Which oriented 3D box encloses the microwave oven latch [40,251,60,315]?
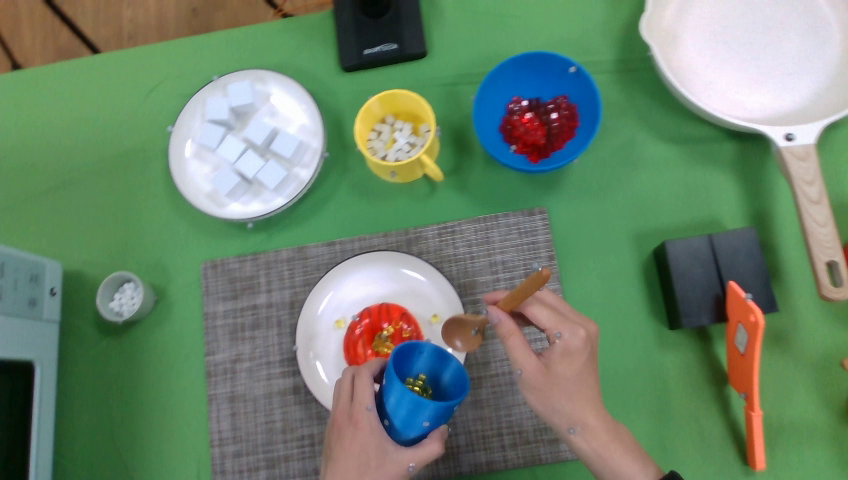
[{"bbox_3d":[-0.482,0.055,0.767,0.030,0.029,0.079,-4,78,4],"label":"microwave oven latch"}]

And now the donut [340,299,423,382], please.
[{"bbox_3d":[-0.049,0.118,0.714,0.099,0.048,0.098,-1,82,6],"label":"donut"}]

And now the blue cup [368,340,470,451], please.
[{"bbox_3d":[-0.013,0.164,0.611,0.093,0.100,0.091,16,43,-16],"label":"blue cup"}]

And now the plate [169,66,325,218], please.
[{"bbox_3d":[-0.229,-0.127,0.800,0.207,0.039,0.206,-1,78,6],"label":"plate"}]

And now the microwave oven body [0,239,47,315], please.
[{"bbox_3d":[-0.625,0.220,0.646,0.326,0.261,0.439,-6,78,4],"label":"microwave oven body"}]

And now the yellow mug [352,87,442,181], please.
[{"bbox_3d":[-0.024,-0.122,0.764,0.130,0.064,0.100,44,85,12],"label":"yellow mug"}]

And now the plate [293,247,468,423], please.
[{"bbox_3d":[-0.050,0.112,0.726,0.209,0.038,0.208,-1,78,6],"label":"plate"}]

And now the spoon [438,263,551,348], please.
[{"bbox_3d":[0.058,0.061,0.527,0.041,0.194,0.021,41,61,0],"label":"spoon"}]

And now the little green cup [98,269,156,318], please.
[{"bbox_3d":[-0.375,0.070,0.771,0.061,0.039,0.061,-1,79,5],"label":"little green cup"}]

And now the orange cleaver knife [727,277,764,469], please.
[{"bbox_3d":[0.348,0.146,0.660,0.012,0.077,0.212,-10,106,4],"label":"orange cleaver knife"}]

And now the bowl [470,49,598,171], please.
[{"bbox_3d":[0.133,-0.148,0.747,0.151,0.077,0.150,-1,78,6],"label":"bowl"}]

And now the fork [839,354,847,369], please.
[{"bbox_3d":[0.467,0.151,0.612,0.209,0.018,0.028,28,79,-33],"label":"fork"}]

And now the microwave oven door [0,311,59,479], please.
[{"bbox_3d":[-0.477,0.246,0.620,0.039,0.245,0.354,-6,77,5],"label":"microwave oven door"}]

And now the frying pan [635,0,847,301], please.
[{"bbox_3d":[0.414,-0.166,0.709,0.306,0.103,0.484,-4,69,6],"label":"frying pan"}]
